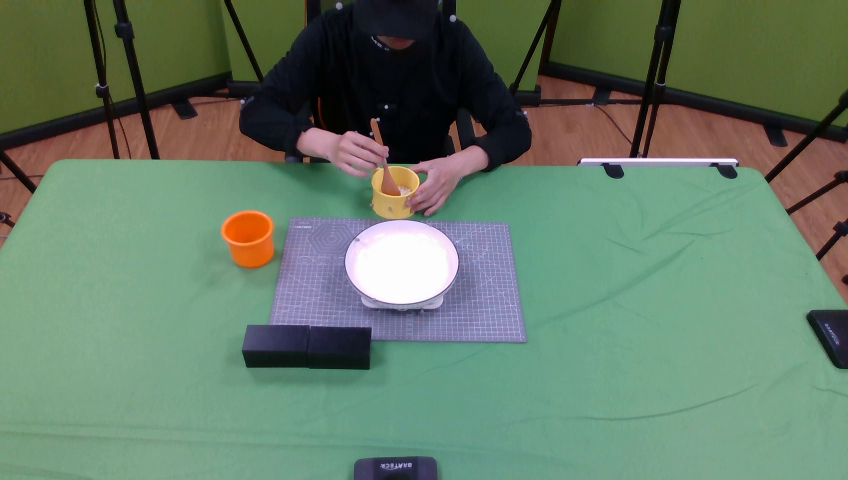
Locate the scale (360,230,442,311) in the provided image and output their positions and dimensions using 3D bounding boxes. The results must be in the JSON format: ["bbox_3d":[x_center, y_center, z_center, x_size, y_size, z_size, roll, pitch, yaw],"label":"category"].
[{"bbox_3d":[-0.042,0.047,1.138,0.149,0.032,0.199,2,46,-3],"label":"scale"}]

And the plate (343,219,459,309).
[{"bbox_3d":[-0.041,0.046,1.094,0.209,0.038,0.208,2,46,-2],"label":"plate"}]

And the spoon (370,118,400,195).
[{"bbox_3d":[-0.081,-0.153,1.182,0.041,0.195,0.021,3,39,19],"label":"spoon"}]

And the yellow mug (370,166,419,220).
[{"bbox_3d":[-0.073,-0.108,1.267,0.100,0.064,0.130,-28,53,-31],"label":"yellow mug"}]
